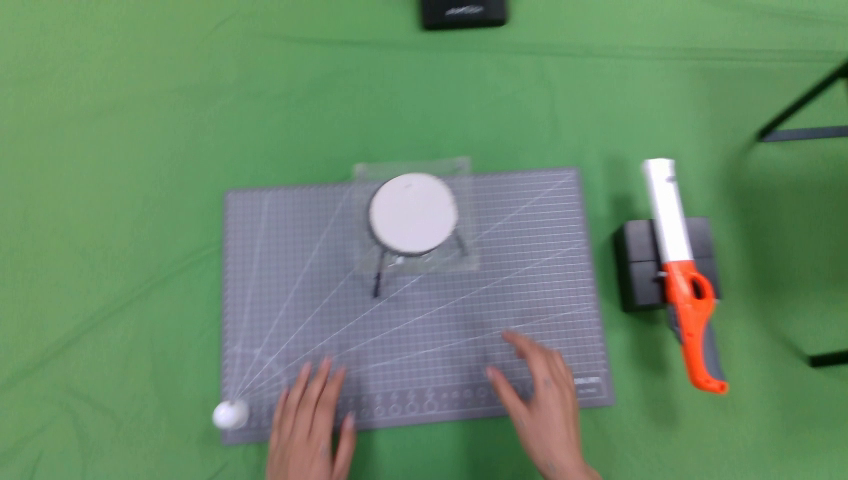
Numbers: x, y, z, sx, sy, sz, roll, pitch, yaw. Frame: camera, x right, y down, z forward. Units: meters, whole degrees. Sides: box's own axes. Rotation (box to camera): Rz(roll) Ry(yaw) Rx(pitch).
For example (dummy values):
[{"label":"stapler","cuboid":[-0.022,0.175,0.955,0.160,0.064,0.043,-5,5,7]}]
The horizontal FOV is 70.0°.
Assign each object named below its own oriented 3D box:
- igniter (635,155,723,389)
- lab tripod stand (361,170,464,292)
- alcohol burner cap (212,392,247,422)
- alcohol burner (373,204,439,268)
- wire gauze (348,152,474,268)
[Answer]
[{"label":"igniter","cuboid":[0.288,0.031,0.692,0.057,0.025,0.274,-5,73,-8]},{"label":"lab tripod stand","cuboid":[-0.024,-0.015,0.681,0.148,0.132,0.147,0,74,0]},{"label":"alcohol burner cap","cuboid":[-0.216,0.182,0.664,0.034,0.048,0.033,1,72,-3]},{"label":"alcohol burner","cuboid":[-0.020,-0.009,0.689,0.078,0.119,0.077,0,75,-1]},{"label":"wire gauze","cuboid":[-0.015,-0.030,0.615,0.125,0.011,0.121,-2,75,-3]}]
